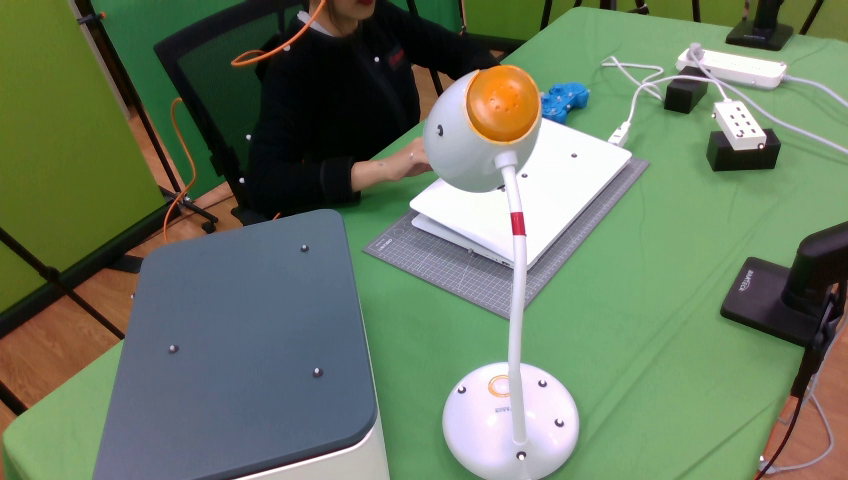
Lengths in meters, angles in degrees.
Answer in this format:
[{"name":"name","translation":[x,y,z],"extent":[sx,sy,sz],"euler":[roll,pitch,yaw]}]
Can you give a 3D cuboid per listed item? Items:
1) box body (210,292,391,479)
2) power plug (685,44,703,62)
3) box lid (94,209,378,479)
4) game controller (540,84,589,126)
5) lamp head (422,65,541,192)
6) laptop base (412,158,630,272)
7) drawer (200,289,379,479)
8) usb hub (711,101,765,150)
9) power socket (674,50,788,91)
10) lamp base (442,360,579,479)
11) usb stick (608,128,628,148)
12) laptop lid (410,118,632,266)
[{"name":"box body","translation":[-0.190,0.161,0.723],"extent":[0.255,0.161,0.361],"euler":[-13,40,-5]},{"name":"power plug","translation":[0.568,-0.390,1.294],"extent":[0.073,0.053,0.035],"euler":[-33,46,-22]},{"name":"box lid","translation":[-0.202,0.094,0.680],"extent":[0.264,0.015,0.368],"euler":[-13,39,-5]},{"name":"game controller","translation":[0.273,-0.282,1.252],"extent":[0.096,0.052,0.155],"euler":[26,51,30]},{"name":"lamp head","translation":[0.060,-0.106,0.560],"extent":[0.113,0.112,0.122],"euler":[-16,0,-8]},{"name":"laptop base","translation":[0.176,-0.083,1.056],"extent":[0.233,0.023,0.355],"euler":[21,48,36]},{"name":"drawer","translation":[-0.172,0.176,0.760],"extent":[0.195,0.073,0.210],"euler":[-13,42,-8]},{"name":"usb hub","translation":[0.537,-0.198,1.038],"extent":[0.049,0.025,0.124],"euler":[-4,39,8]},{"name":"power socket","translation":[0.646,-0.363,1.284],"extent":[0.225,0.033,0.072],"euler":[25,52,34]},{"name":"lamp base","translation":[0.094,0.158,0.657],"extent":[0.161,0.181,0.178],"euler":[-13,42,-5]},{"name":"usb stick","translation":[0.353,-0.178,1.110],"extent":[0.021,0.027,0.059],"euler":[21,57,31]},{"name":"laptop lid","translation":[0.172,-0.107,1.036],"extent":[0.240,0.013,0.358],"euler":[30,53,29]}]
